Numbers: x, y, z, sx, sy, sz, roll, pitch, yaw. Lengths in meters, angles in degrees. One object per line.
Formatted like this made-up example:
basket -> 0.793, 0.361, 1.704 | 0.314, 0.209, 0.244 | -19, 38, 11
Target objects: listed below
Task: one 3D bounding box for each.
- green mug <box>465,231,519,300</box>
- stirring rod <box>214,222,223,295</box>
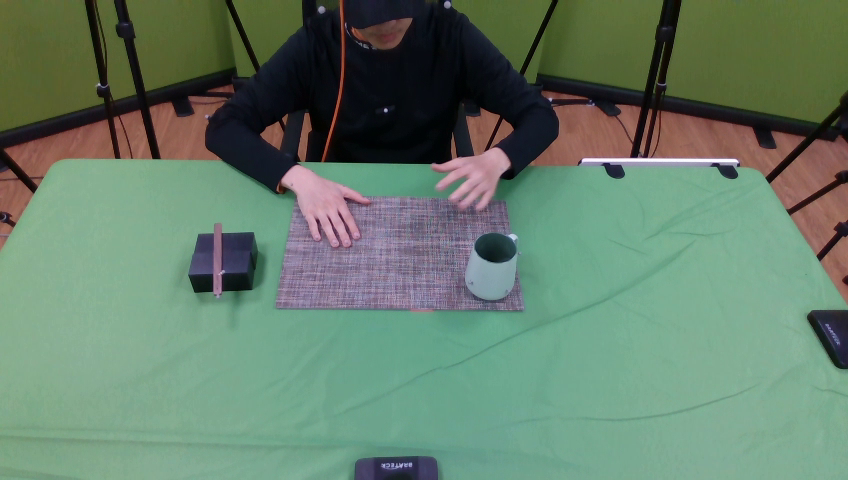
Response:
green mug -> 0.134, 0.037, 1.108 | 0.092, 0.105, 0.125 | 30, 52, 23
stirring rod -> -0.368, 0.030, 1.083 | 0.014, 0.006, 0.175 | -10, 48, -9
